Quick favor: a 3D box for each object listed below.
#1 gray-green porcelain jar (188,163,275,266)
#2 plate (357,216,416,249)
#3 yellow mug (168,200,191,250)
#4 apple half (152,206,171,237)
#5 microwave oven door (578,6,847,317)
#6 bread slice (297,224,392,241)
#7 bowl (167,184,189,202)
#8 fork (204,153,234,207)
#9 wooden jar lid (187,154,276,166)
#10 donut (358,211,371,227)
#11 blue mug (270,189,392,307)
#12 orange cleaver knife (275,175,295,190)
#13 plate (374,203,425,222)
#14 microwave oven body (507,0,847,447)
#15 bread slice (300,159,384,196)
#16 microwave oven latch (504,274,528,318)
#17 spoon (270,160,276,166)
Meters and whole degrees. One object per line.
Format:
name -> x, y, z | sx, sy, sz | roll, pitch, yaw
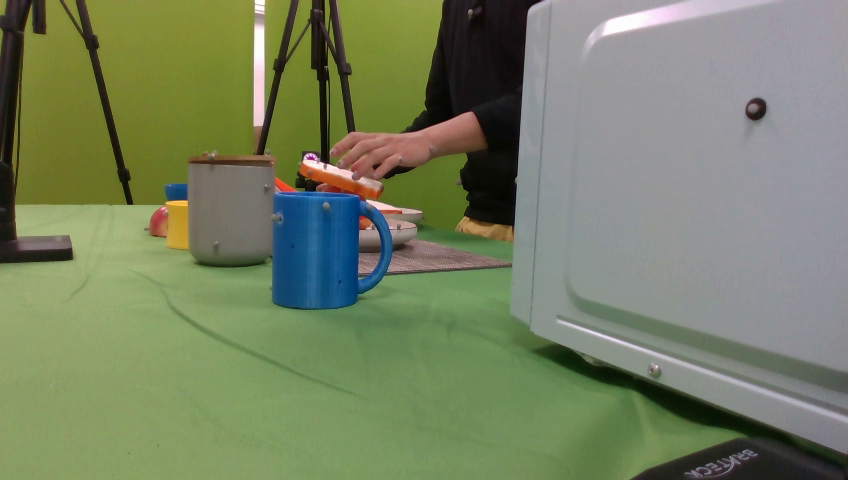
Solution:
gray-green porcelain jar -> -0.246, -0.034, 0.780 | 0.106, 0.126, 0.106 | 1, 7, 0
plate -> -0.116, -0.014, 0.967 | 0.208, 0.039, 0.207 | 2, 7, 0
yellow mug -> -0.320, -0.022, 0.904 | 0.130, 0.064, 0.100 | 8, 10, 36
apple half -> -0.415, -0.034, 1.017 | 0.081, 0.053, 0.074 | 1, 10, -8
microwave oven door -> 0.294, -0.067, 0.570 | 0.358, 0.243, 0.039 | -3, 9, -31
bread slice -> -0.120, -0.013, 0.970 | 0.106, 0.018, 0.135 | 8, 8, 40
bowl -> -0.408, -0.064, 1.154 | 0.151, 0.077, 0.151 | 2, 8, 0
fork -> -0.480, -0.135, 1.411 | 0.028, 0.018, 0.207 | 1, -34, 0
wooden jar lid -> -0.244, -0.097, 0.771 | 0.108, 0.020, 0.108 | -1, 7, 0
donut -> -0.130, -0.041, 0.956 | 0.099, 0.048, 0.099 | 2, 7, 0
blue mug -> -0.090, 0.005, 0.588 | 0.117, 0.106, 0.082 | 1, 7, -10
orange cleaver knife -> -0.283, -0.087, 1.343 | 0.212, 0.077, 0.012 | 24, -16, -41
plate -> -0.102, -0.053, 1.299 | 0.209, 0.038, 0.209 | 2, 8, 0
microwave oven body -> 0.331, -0.042, 0.425 | 0.444, 0.260, 0.324 | -2, 8, -31
bread slice -> -0.129, -0.100, 0.946 | 0.132, 0.019, 0.105 | 17, 11, -3
microwave oven latch -> 0.100, 0.041, 0.471 | 0.079, 0.029, 0.030 | -1, 8, -28
spoon -> -0.396, -0.150, 1.548 | 0.042, 0.193, 0.021 | 3, -37, -4
